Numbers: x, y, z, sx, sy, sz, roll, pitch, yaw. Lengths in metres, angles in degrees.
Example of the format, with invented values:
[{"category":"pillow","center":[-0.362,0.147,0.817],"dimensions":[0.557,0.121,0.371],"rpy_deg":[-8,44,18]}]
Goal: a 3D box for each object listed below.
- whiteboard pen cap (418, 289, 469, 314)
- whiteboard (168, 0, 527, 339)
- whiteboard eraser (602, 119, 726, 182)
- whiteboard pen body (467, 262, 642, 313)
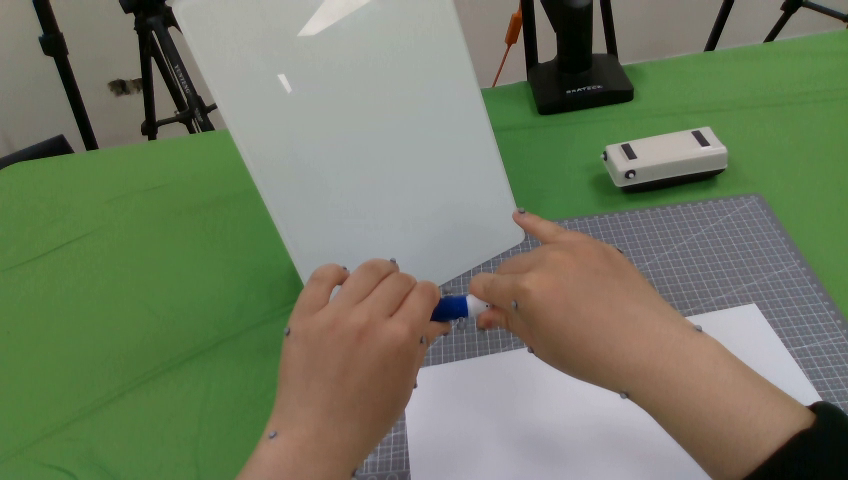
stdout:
[{"category":"whiteboard pen cap","center":[0.013,0.041,0.399],"dimensions":[0.033,0.018,0.018],"rpy_deg":[2,40,-10]},{"category":"whiteboard","center":[-0.066,-0.106,0.576],"dimensions":[0.217,0.307,0.142],"rpy_deg":[-27,22,-14]},{"category":"whiteboard eraser","center":[0.248,-0.091,0.632],"dimensions":[0.112,0.042,0.055],"rpy_deg":[-9,43,3]},{"category":"whiteboard pen body","center":[0.073,0.033,0.400],"dimensions":[0.141,0.017,0.017],"rpy_deg":[-10,41,0]}]
